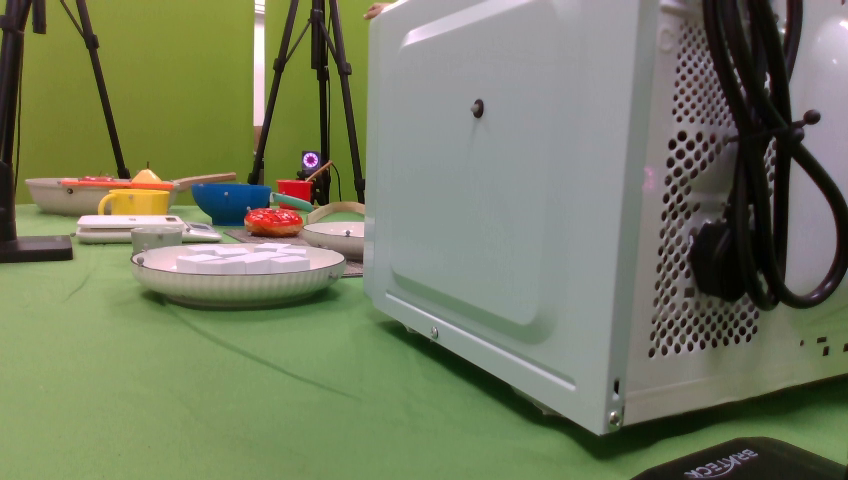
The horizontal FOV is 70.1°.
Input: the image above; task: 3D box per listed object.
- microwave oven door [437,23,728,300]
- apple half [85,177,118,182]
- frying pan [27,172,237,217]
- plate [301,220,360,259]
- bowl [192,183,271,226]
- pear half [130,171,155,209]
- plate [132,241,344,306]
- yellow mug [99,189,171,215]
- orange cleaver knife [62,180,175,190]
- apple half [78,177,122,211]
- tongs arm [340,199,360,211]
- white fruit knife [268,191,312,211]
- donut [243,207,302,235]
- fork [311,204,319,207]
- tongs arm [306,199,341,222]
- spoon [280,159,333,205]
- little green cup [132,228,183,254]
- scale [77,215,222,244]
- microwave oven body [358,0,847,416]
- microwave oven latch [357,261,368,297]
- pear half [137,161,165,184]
[{"bbox_3d":[0.180,-0.072,0.621,0.358,0.243,0.039,-2,8,-29],"label":"microwave oven door"},{"bbox_3d":[-0.673,-0.096,1.269,0.082,0.081,0.032,-4,6,-40],"label":"apple half"},{"bbox_3d":[-0.624,-0.118,1.387,0.305,0.102,0.490,8,17,32],"label":"frying pan"},{"bbox_3d":[-0.077,-0.002,0.893,0.209,0.038,0.209,3,8,0],"label":"plate"},{"bbox_3d":[-0.382,-0.071,1.202,0.151,0.077,0.151,3,7,0],"label":"bowl"},{"bbox_3d":[-0.640,-0.113,1.361,0.031,0.088,0.070,5,10,5],"label":"pear half"},{"bbox_3d":[-0.187,0.033,0.625,0.208,0.039,0.207,2,7,0],"label":"plate"},{"bbox_3d":[-0.518,-0.055,1.080,0.099,0.064,0.131,6,9,26],"label":"yellow mug"},{"bbox_3d":[-0.600,-0.110,1.193,0.212,0.012,0.077,1,8,-13],"label":"orange cleaver knife"},{"bbox_3d":[-0.698,-0.099,1.298,0.081,0.074,0.053,-9,9,-40],"label":"apple half"},{"bbox_3d":[-0.149,-0.071,1.429,0.051,0.026,0.383,-4,9,-15],"label":"tongs arm"},{"bbox_3d":[-0.364,-0.105,1.463,0.208,0.027,0.016,15,-2,-34],"label":"white fruit knife"},{"bbox_3d":[-0.261,-0.032,1.043,0.099,0.048,0.099,4,9,0],"label":"donut"},{"bbox_3d":[-0.356,-0.105,1.526,0.208,0.018,0.028,16,-6,-41],"label":"fork"},{"bbox_3d":[-0.234,-0.069,1.414,0.028,0.028,0.387,-5,8,1],"label":"tongs arm"},{"bbox_3d":[-0.317,-0.159,1.640,0.194,0.022,0.041,-50,31,-20],"label":"spoon"},{"bbox_3d":[-0.342,0.006,0.779,0.061,0.038,0.061,2,8,0],"label":"little green cup"},{"bbox_3d":[-0.434,-0.019,0.963,0.202,0.031,0.148,-1,9,-27],"label":"scale"},{"bbox_3d":[0.211,-0.047,0.475,0.444,0.260,0.324,-1,7,-28],"label":"microwave oven body"},{"bbox_3d":[-0.019,0.033,0.531,0.079,0.029,0.030,-1,7,-27],"label":"microwave oven latch"},{"bbox_3d":[-0.604,-0.120,1.354,0.056,0.110,0.076,4,11,7],"label":"pear half"}]
